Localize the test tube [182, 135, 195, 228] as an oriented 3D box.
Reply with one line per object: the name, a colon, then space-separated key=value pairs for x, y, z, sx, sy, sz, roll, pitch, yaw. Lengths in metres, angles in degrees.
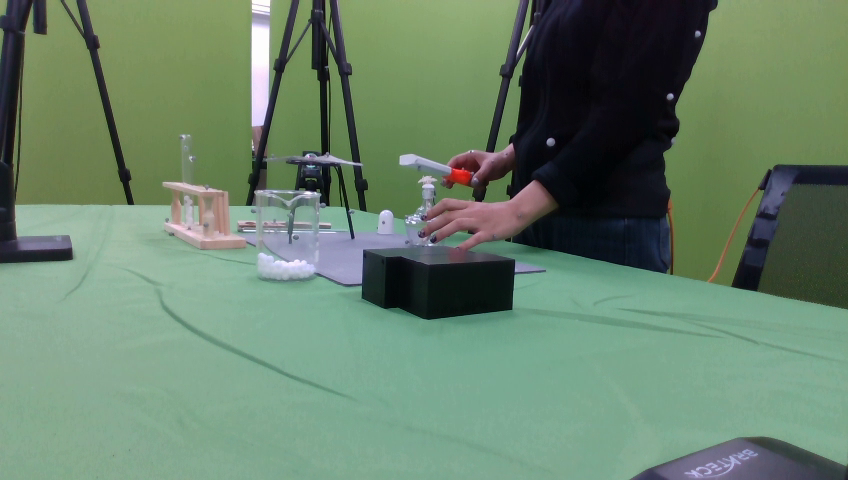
test tube: x=-0.382 y=-0.095 z=0.983 sx=0.017 sy=0.150 sz=0.017 roll=-1 pitch=2 yaw=0

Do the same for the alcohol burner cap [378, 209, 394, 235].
alcohol burner cap: x=-0.072 y=-0.035 z=1.145 sx=0.034 sy=0.048 sz=0.034 roll=2 pitch=7 yaw=0

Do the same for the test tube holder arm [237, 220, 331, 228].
test tube holder arm: x=-0.260 y=-0.029 z=1.141 sx=0.179 sy=0.015 sz=0.013 roll=-2 pitch=42 yaw=-33

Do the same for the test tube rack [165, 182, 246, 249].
test tube rack: x=-0.360 y=-0.045 z=0.983 sx=0.067 sy=0.085 sz=0.241 roll=-3 pitch=9 yaw=-34

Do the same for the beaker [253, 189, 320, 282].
beaker: x=-0.156 y=-0.005 z=0.689 sx=0.074 sy=0.100 sz=0.083 roll=0 pitch=8 yaw=-14

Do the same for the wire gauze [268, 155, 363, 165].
wire gauze: x=-0.185 y=-0.136 z=1.016 sx=0.126 sy=0.011 sz=0.121 roll=-4 pitch=11 yaw=-33

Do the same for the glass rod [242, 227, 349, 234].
glass rod: x=-0.232 y=-0.017 z=1.110 sx=0.201 sy=0.008 sz=0.008 roll=2 pitch=6 yaw=-30

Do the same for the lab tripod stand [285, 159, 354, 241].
lab tripod stand: x=-0.187 y=-0.068 z=1.013 sx=0.148 sy=0.131 sz=0.148 roll=4 pitch=9 yaw=0

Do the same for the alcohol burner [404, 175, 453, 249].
alcohol burner: x=0.007 y=-0.045 z=0.971 sx=0.078 sy=0.119 sz=0.078 roll=1 pitch=9 yaw=0

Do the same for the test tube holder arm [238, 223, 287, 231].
test tube holder arm: x=-0.296 y=-0.024 z=1.113 sx=0.088 sy=0.015 sz=0.010 roll=-2 pitch=42 yaw=-33

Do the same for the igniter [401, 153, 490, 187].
igniter: x=0.048 y=-0.131 z=1.150 sx=0.057 sy=0.025 sz=0.278 roll=0 pitch=-4 yaw=34
